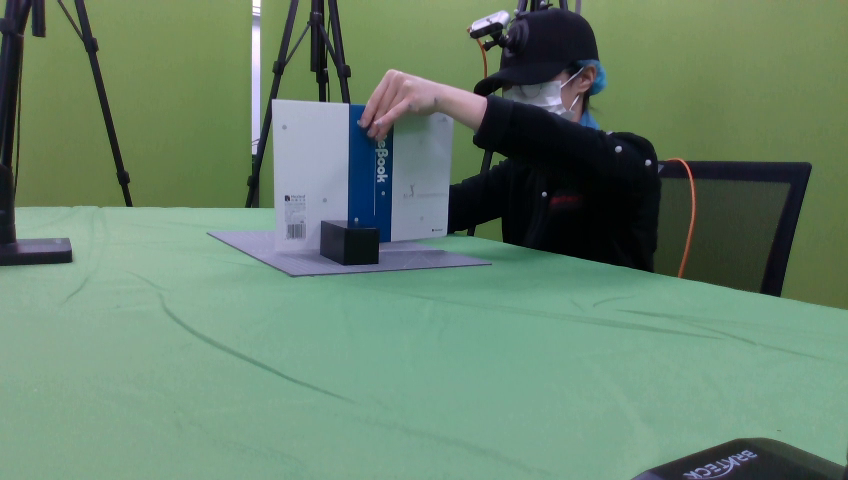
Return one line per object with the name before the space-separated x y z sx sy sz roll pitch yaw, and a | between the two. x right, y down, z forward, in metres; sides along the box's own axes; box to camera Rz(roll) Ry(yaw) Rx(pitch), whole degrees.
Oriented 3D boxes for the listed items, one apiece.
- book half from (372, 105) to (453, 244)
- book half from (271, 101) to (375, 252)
book half | -0.021 -0.100 0.940 0.144 0.210 0.007 -5 15 -29
book half | -0.144 -0.089 0.867 0.149 0.210 0.016 -4 15 -25
